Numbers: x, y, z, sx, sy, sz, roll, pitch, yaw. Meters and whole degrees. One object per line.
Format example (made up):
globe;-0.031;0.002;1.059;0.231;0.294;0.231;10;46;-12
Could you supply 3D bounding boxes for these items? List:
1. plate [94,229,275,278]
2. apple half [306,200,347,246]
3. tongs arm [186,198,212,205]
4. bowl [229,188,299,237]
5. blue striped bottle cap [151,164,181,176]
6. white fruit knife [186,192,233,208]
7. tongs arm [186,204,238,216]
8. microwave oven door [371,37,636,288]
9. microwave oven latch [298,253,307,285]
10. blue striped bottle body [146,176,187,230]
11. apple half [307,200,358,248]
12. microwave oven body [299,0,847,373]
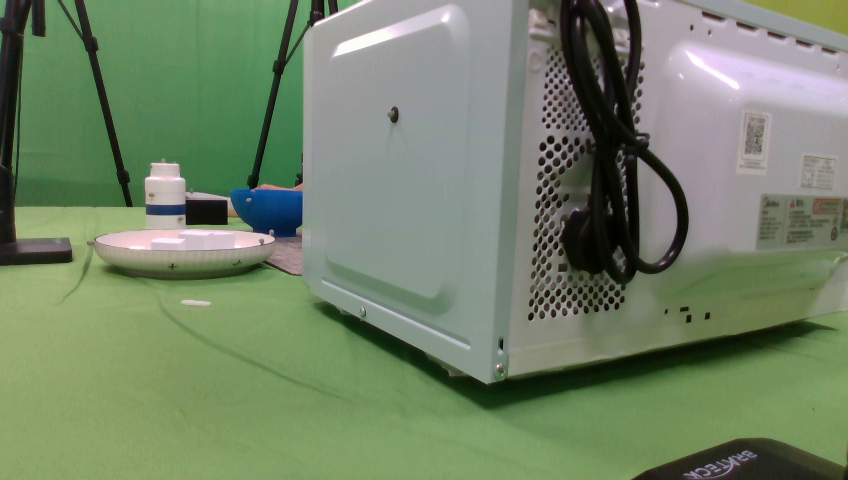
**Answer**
plate;-0.291;0.016;0.750;0.208;0.039;0.207;2;7;0
apple half;-0.162;-0.029;0.965;0.032;0.081;0.082;13;13;43
tongs arm;-0.404;-0.081;1.479;0.385;0.026;0.050;3;8;-2
bowl;-0.265;-0.048;1.066;0.151;0.077;0.151;3;8;0
blue striped bottle cap;-0.428;-0.116;1.002;0.044;0.020;0.044;1;6;0
white fruit knife;-0.401;-0.080;1.275;0.208;0.027;0.016;10;0;-35
tongs arm;-0.396;-0.067;1.399;0.389;0.028;0.028;1;5;-15
microwave oven door;0.109;-0.080;0.686;0.358;0.243;0.039;-2;9;-33
microwave oven latch;-0.081;0.027;0.582;0.079;0.029;0.030;-2;7;-32
blue striped bottle body;-0.430;-0.066;1.010;0.063;0.120;0.063;2;7;0
apple half;-0.134;-0.024;0.938;0.053;0.074;0.081;13;10;43
microwave oven body;0.151;-0.055;0.542;0.444;0.260;0.324;-2;7;-33
